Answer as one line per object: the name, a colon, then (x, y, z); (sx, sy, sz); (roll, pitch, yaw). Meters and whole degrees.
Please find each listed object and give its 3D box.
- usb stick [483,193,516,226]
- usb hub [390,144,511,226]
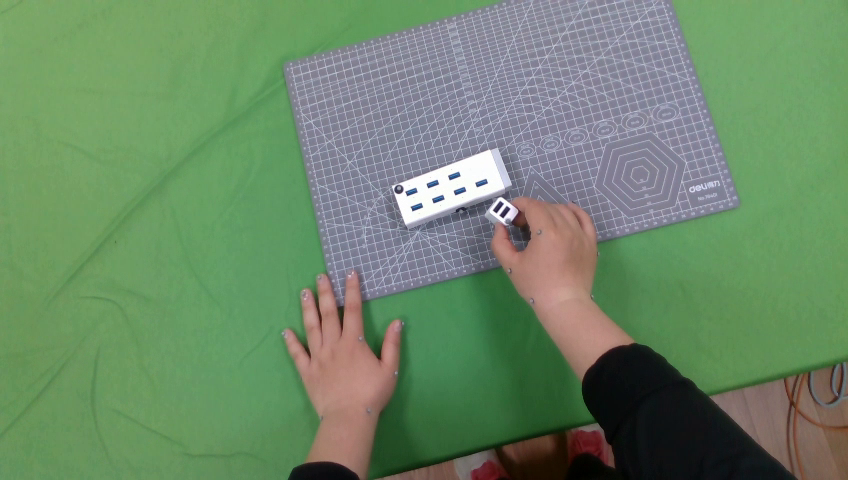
usb stick: (0.078, -0.031, 0.640); (0.027, 0.059, 0.021); (35, 86, 5)
usb hub: (0.029, -0.061, 0.666); (0.125, 0.025, 0.049); (-20, 79, 3)
